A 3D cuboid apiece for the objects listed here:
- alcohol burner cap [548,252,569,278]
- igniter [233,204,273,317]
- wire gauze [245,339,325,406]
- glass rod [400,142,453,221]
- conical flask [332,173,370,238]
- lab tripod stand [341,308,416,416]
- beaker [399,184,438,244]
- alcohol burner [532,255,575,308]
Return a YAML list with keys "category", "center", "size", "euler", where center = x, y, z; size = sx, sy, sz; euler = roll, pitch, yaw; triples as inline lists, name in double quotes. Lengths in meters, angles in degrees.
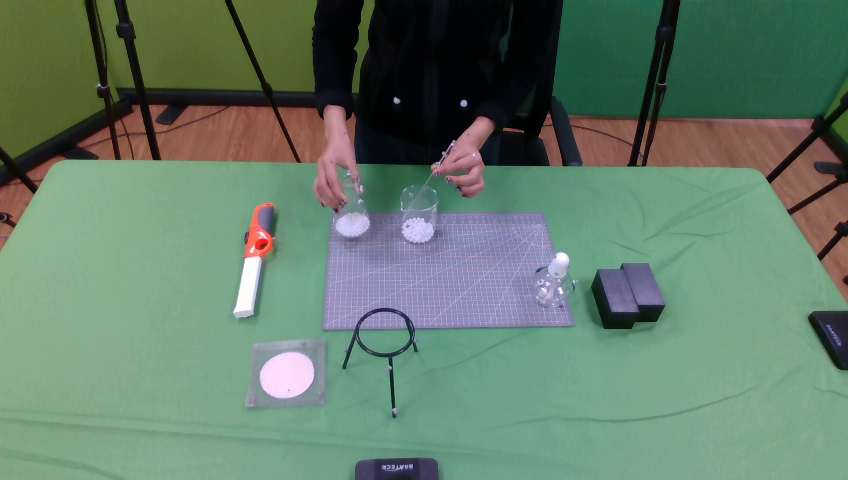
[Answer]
- category: "alcohol burner cap"
  center: [0.238, 0.042, 1.060]
  size: [0.034, 0.048, 0.033]
  euler: [1, 53, -1]
- category: "igniter"
  center: [-0.321, 0.029, 1.142]
  size: [0.057, 0.025, 0.274]
  euler: [-7, 46, 4]
- category: "wire gauze"
  center: [-0.224, 0.214, 0.984]
  size: [0.125, 0.011, 0.120]
  euler: [-2, 46, -5]
- category: "glass rod"
  center: [0.002, -0.108, 1.149]
  size: [0.008, 0.200, 0.008]
  euler: [24, 35, -18]
- category: "conical flask"
  center: [-0.140, -0.068, 1.151]
  size: [0.075, 0.122, 0.075]
  euler: [3, 44, -3]
- category: "lab tripod stand"
  center: [-0.061, 0.177, 0.946]
  size: [0.148, 0.132, 0.147]
  euler: [2, 44, -2]
- category: "beaker"
  center: [-0.014, -0.046, 1.186]
  size: [0.073, 0.101, 0.084]
  euler: [36, 54, 27]
- category: "alcohol burner"
  center: [0.235, 0.066, 1.087]
  size: [0.078, 0.119, 0.077]
  euler: [4, 45, -3]
